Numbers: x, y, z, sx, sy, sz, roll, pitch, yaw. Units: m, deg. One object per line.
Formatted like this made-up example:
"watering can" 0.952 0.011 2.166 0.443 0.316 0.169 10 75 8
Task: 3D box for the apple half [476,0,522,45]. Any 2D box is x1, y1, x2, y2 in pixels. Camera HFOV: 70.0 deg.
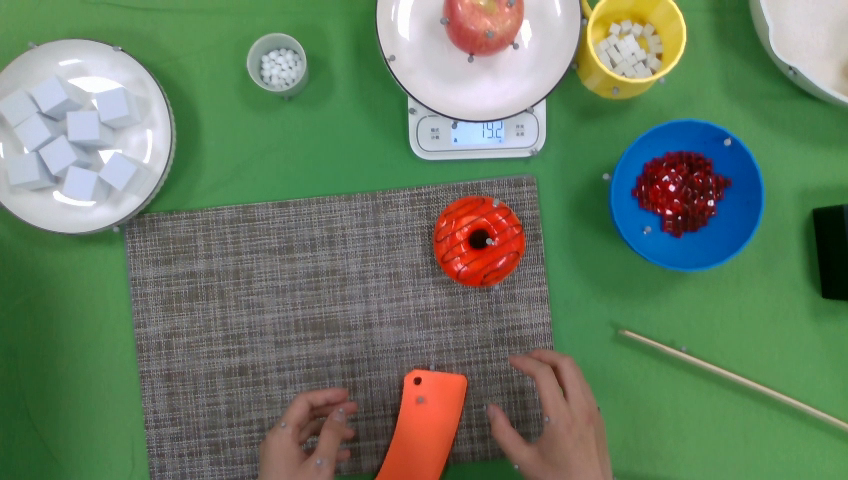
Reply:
"apple half" 0.064 -0.236 0.593 0.080 0.075 0.053 40 86 3

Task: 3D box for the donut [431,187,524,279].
"donut" 0.055 -0.007 0.639 0.099 0.048 0.099 0 90 2

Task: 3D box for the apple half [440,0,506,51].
"apple half" 0.040 -0.206 0.591 0.081 0.081 0.033 39 86 1

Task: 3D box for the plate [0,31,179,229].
"plate" -0.362 -0.114 0.646 0.208 0.039 0.207 0 89 0

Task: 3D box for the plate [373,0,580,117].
"plate" 0.052 -0.227 0.618 0.209 0.038 0.209 0 89 -1

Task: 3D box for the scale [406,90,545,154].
"scale" 0.054 -0.196 0.651 0.149 0.031 0.200 -2 90 0

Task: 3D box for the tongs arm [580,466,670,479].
"tongs arm" 0.361 0.255 0.645 0.385 0.026 0.050 9 85 0

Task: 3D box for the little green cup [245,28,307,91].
"little green cup" -0.154 -0.190 0.647 0.061 0.038 0.061 0 89 0

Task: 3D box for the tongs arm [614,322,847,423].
"tongs arm" 0.383 0.171 0.650 0.387 0.028 0.028 24 81 1

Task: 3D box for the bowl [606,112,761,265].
"bowl" 0.254 -0.050 0.627 0.151 0.077 0.151 0 90 0

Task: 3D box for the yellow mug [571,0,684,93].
"yellow mug" 0.200 -0.224 0.634 0.100 0.064 0.131 -38 89 0

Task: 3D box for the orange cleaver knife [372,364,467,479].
"orange cleaver knife" -0.017 0.230 0.649 0.077 0.012 0.211 23 87 -6

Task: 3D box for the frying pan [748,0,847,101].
"frying pan" 0.530 -0.191 0.616 0.307 0.103 0.486 -33 82 1
